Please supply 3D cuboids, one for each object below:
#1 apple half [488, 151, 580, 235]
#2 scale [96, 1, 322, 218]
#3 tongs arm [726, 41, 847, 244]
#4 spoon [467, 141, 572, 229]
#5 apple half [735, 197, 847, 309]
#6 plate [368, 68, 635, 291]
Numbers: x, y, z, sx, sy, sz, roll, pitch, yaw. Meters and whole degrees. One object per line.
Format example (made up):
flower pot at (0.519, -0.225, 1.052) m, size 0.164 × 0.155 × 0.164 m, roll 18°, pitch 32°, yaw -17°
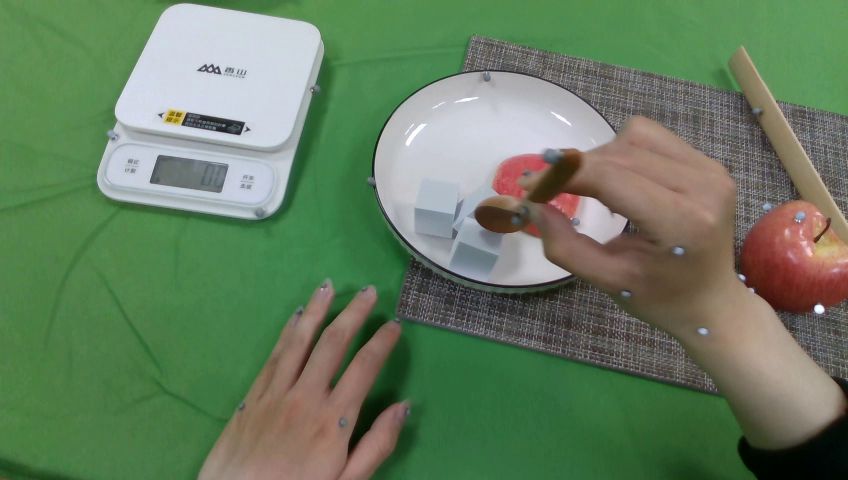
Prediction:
apple half at (0.090, -0.046, 0.484) m, size 0.081 × 0.033 × 0.080 m, roll 3°, pitch 63°, yaw -6°
scale at (-0.176, -0.116, 0.514) m, size 0.149 × 0.032 × 0.199 m, roll 9°, pitch 62°, yaw 0°
tongs arm at (0.341, -0.017, 0.498) m, size 0.028 × 0.028 × 0.384 m, roll -8°, pitch 63°, yaw -13°
spoon at (0.053, -0.024, 0.341) m, size 0.041 × 0.194 × 0.021 m, roll 12°, pitch 86°, yaw -2°
apple half at (0.265, 0.016, 0.449) m, size 0.053 × 0.075 × 0.080 m, roll -22°, pitch 69°, yaw -10°
plate at (0.061, -0.050, 0.489) m, size 0.209 × 0.038 × 0.207 m, roll 2°, pitch 62°, yaw -3°
